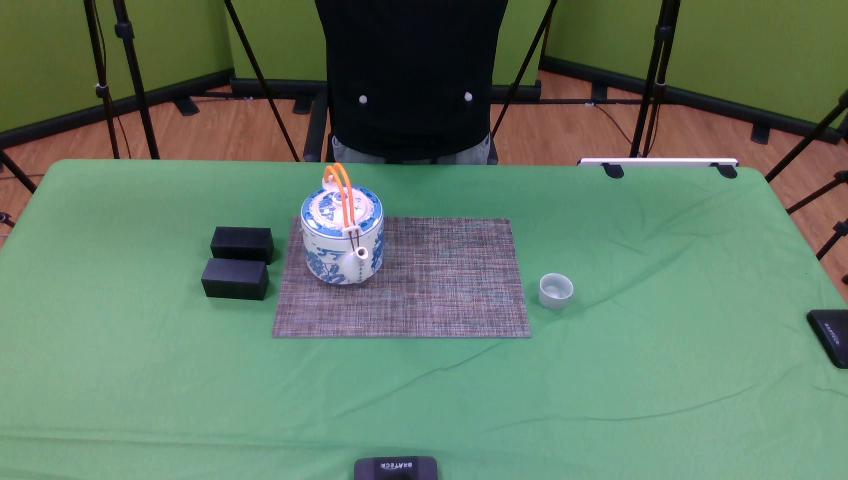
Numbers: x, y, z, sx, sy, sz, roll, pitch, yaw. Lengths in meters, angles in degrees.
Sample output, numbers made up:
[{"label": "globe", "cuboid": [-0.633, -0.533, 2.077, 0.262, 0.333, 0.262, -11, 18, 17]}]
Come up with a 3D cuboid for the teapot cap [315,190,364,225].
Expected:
[{"label": "teapot cap", "cuboid": [-0.145, -0.061, 1.046, 0.085, 0.044, 0.084, 1, 49, -1]}]

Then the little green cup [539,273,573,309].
[{"label": "little green cup", "cuboid": [0.240, 0.096, 1.113, 0.061, 0.039, 0.061, 2, 47, -2]}]

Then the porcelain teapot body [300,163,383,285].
[{"label": "porcelain teapot body", "cuboid": [-0.134, -0.014, 1.057, 0.145, 0.226, 0.204, -16, 50, -19]}]
